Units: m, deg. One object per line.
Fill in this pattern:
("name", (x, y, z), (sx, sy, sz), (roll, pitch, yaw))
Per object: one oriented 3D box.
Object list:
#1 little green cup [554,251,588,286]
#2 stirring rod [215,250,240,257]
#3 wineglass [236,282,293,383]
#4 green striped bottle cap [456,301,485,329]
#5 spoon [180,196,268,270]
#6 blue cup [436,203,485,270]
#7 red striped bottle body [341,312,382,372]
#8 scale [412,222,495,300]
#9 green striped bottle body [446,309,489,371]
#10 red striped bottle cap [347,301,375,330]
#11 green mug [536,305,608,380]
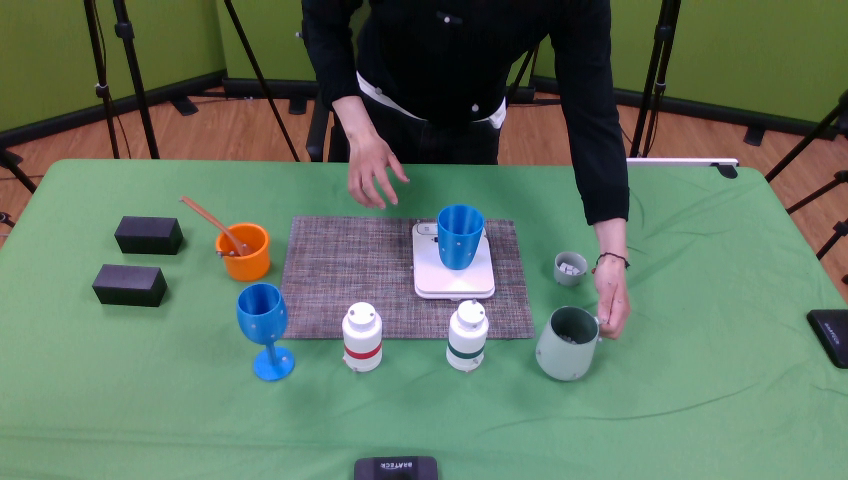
("little green cup", (0.276, 0.056, 1.152), (0.061, 0.039, 0.061), (2, 45, -2))
("stirring rod", (-0.339, 0.024, 1.059), (0.014, 0.176, 0.006), (16, 86, -6))
("wineglass", (-0.243, 0.143, 0.934), (0.074, 0.173, 0.073), (2, 46, -2))
("green striped bottle cap", (0.073, 0.116, 0.943), (0.044, 0.020, 0.044), (3, 47, -3))
("spoon", (-0.360, -0.014, 1.094), (0.021, 0.194, 0.041), (-28, 26, 31))
("blue cup", (0.061, -0.001, 1.099), (0.093, 0.101, 0.092), (2, 43, -2))
("red striped bottle body", (-0.100, 0.154, 0.972), (0.063, 0.120, 0.062), (2, 46, -1))
("scale", (0.052, 0.031, 1.158), (0.149, 0.032, 0.199), (1, 46, -4))
("green striped bottle body", (0.071, 0.155, 0.984), (0.063, 0.120, 0.063), (2, 46, -2))
("red striped bottle cap", (-0.097, 0.116, 0.934), (0.044, 0.018, 0.044), (2, 49, -2))
("green mug", (0.250, 0.163, 1.000), (0.125, 0.105, 0.092), (-21, 50, -22))
